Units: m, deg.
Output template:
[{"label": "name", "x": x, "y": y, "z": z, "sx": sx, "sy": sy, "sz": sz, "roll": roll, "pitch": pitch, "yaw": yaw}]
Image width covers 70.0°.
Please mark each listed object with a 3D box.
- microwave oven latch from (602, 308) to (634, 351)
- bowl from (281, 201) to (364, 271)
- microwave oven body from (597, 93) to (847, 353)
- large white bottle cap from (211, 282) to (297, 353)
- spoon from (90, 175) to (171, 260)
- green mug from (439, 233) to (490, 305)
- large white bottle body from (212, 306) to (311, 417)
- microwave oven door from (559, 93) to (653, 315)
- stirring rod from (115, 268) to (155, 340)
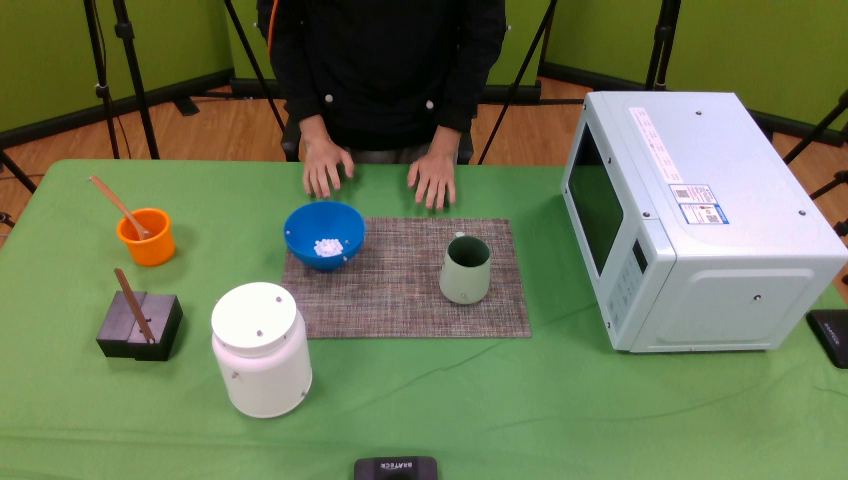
[{"label": "microwave oven latch", "x": 0.332, "y": 0.153, "z": 1.044, "sx": 0.030, "sy": 0.029, "sz": 0.078, "roll": -1, "pitch": 45, "yaw": -4}, {"label": "bowl", "x": -0.187, "y": 0.005, "z": 1.137, "sx": 0.151, "sy": 0.077, "sz": 0.150, "roll": 3, "pitch": 46, "yaw": -3}, {"label": "microwave oven body", "x": 0.475, "y": -0.041, "z": 1.109, "sx": 0.326, "sy": 0.261, "sz": 0.438, "roll": -1, "pitch": 45, "yaw": -4}, {"label": "large white bottle cap", "x": -0.237, "y": 0.106, "z": 0.846, "sx": 0.115, "sy": 0.018, "sz": 0.114, "roll": 2, "pitch": 45, "yaw": -2}, {"label": "spoon", "x": -0.539, "y": -0.042, "z": 1.112, "sx": 0.021, "sy": 0.194, "sz": 0.041, "roll": -13, "pitch": 27, "yaw": 52}, {"label": "green mug", "x": 0.071, "y": 0.044, "z": 1.101, "sx": 0.092, "sy": 0.105, "sz": 0.124, "roll": -6, "pitch": 46, "yaw": -9}, {"label": "large white bottle body", "x": -0.241, "y": 0.165, "z": 0.907, "sx": 0.131, "sy": 0.185, "sz": 0.130, "roll": 2, "pitch": 45, "yaw": -2}, {"label": "microwave oven door", "x": 0.327, "y": -0.074, "z": 1.123, "sx": 0.039, "sy": 0.245, "sz": 0.353, "roll": -1, "pitch": 46, "yaw": -5}, {"label": "stirring rod", "x": -0.479, "y": 0.103, "z": 0.999, "sx": 0.014, "sy": 0.006, "sz": 0.175, "roll": 7, "pitch": 32, "yaw": -49}]
